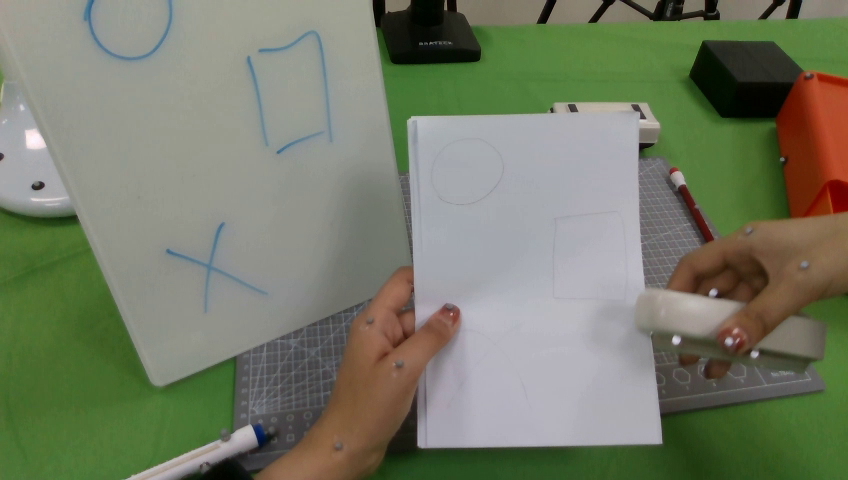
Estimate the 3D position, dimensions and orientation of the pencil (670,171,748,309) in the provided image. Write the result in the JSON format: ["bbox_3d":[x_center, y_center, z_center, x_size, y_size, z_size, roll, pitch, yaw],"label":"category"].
[{"bbox_3d":[0.273,-0.001,0.582,0.012,0.012,0.192,0,48,-5],"label":"pencil"}]

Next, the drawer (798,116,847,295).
[{"bbox_3d":[0.469,-0.025,0.580,0.194,0.074,0.210,15,45,10],"label":"drawer"}]

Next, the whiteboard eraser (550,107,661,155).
[{"bbox_3d":[0.202,-0.122,0.678,0.113,0.042,0.055,0,46,-6],"label":"whiteboard eraser"}]

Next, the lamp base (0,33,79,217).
[{"bbox_3d":[-0.343,-0.137,0.539,0.178,0.182,0.160,24,48,21],"label":"lamp base"}]

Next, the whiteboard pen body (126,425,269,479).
[{"bbox_3d":[-0.167,0.150,0.381,0.141,0.017,0.017,-18,49,-24],"label":"whiteboard pen body"}]

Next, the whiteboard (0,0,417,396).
[{"bbox_3d":[-0.149,-0.082,0.456,0.217,0.308,0.142,-21,31,-23],"label":"whiteboard"}]

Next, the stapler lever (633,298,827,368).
[{"bbox_3d":[0.187,0.056,0.366,0.118,0.040,0.027,8,82,4],"label":"stapler lever"}]

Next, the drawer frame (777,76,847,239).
[{"bbox_3d":[0.488,-0.068,0.623,0.201,0.083,0.212,14,45,10],"label":"drawer frame"}]

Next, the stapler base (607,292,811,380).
[{"bbox_3d":[0.186,0.060,0.387,0.130,0.024,0.041,9,83,1],"label":"stapler base"}]
